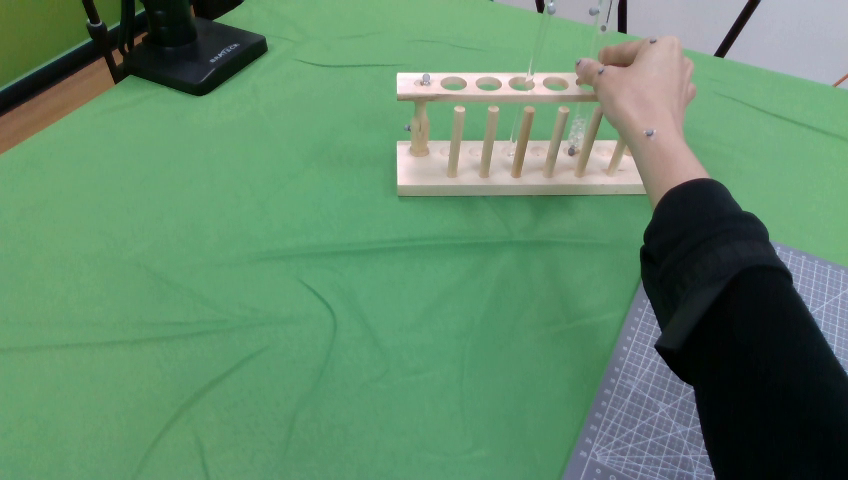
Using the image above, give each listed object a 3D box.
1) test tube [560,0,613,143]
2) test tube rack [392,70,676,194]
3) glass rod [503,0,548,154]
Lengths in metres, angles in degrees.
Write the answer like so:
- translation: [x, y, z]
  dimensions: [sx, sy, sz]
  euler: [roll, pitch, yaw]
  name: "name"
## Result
- translation: [0.138, -0.146, 0.519]
  dimensions: [0.017, 0.151, 0.017]
  euler: [2, 45, -1]
  name: "test tube"
- translation: [0.093, -0.096, 0.538]
  dimensions: [0.242, 0.086, 0.066]
  euler: [-1, 46, -4]
  name: "test tube rack"
- translation: [0.084, -0.146, 0.493]
  dimensions: [0.008, 0.201, 0.008]
  euler: [3, 50, -4]
  name: "glass rod"
